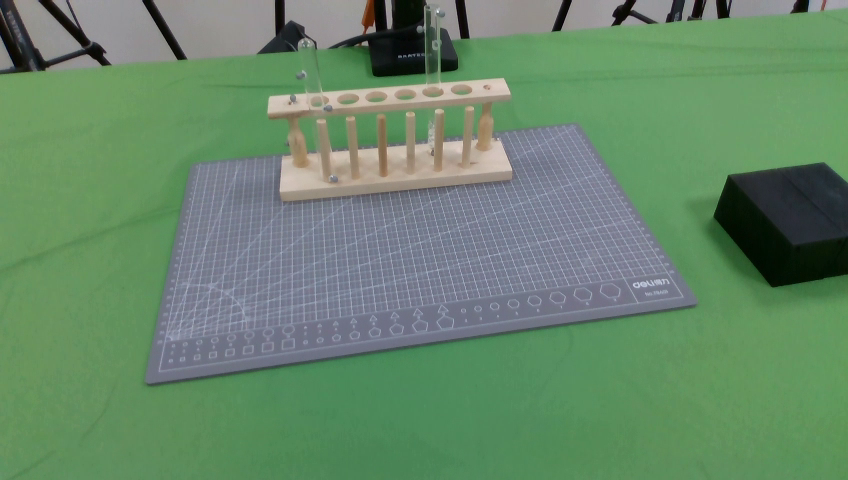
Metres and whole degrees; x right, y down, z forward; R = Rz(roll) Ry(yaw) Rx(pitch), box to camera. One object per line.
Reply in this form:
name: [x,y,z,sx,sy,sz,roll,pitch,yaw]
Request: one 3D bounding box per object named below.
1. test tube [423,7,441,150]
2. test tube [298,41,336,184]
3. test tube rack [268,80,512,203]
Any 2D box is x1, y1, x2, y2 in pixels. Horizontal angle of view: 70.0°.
test tube: [0.009,-0.159,0.615,0.017,0.151,0.017,-1,38,1]
test tube: [-0.101,-0.118,0.580,0.017,0.152,0.017,-1,42,1]
test tube rack: [-0.032,-0.103,0.630,0.243,0.086,0.066,-6,42,-5]
